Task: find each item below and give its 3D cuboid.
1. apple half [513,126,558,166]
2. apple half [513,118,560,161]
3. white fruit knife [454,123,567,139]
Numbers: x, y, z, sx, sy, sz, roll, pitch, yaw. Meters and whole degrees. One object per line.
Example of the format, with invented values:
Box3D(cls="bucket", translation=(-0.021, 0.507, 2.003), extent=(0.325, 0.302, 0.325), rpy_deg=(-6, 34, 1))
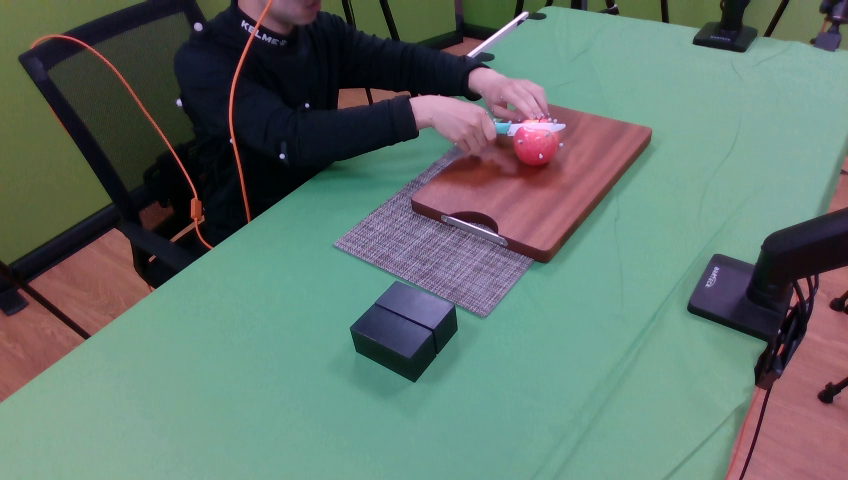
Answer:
Box3D(cls="apple half", translation=(0.188, -0.155, 1.039), extent=(0.081, 0.081, 0.033), rpy_deg=(10, 42, 19))
Box3D(cls="apple half", translation=(0.202, -0.179, 1.066), extent=(0.080, 0.075, 0.053), rpy_deg=(8, 39, 22))
Box3D(cls="white fruit knife", translation=(0.146, -0.192, 1.050), extent=(0.206, 0.027, 0.016), rpy_deg=(2, 37, 25))
